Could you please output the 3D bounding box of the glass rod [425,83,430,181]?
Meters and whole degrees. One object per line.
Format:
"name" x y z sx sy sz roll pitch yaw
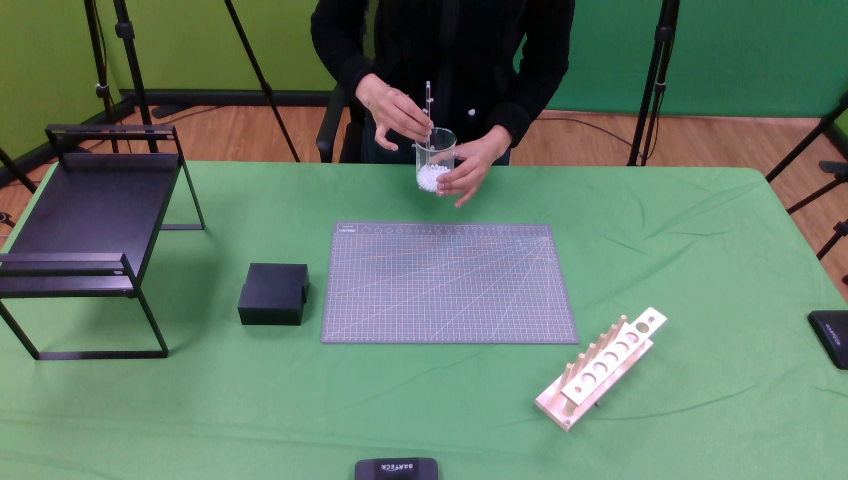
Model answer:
"glass rod" 0.006 -0.181 1.046 0.008 0.201 0.008 0 45 0

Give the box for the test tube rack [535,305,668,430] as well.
"test tube rack" 0.290 0.193 0.984 0.242 0.085 0.066 -32 57 -30

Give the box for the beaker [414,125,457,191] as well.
"beaker" 0.020 -0.147 1.096 0.074 0.101 0.083 4 45 3
